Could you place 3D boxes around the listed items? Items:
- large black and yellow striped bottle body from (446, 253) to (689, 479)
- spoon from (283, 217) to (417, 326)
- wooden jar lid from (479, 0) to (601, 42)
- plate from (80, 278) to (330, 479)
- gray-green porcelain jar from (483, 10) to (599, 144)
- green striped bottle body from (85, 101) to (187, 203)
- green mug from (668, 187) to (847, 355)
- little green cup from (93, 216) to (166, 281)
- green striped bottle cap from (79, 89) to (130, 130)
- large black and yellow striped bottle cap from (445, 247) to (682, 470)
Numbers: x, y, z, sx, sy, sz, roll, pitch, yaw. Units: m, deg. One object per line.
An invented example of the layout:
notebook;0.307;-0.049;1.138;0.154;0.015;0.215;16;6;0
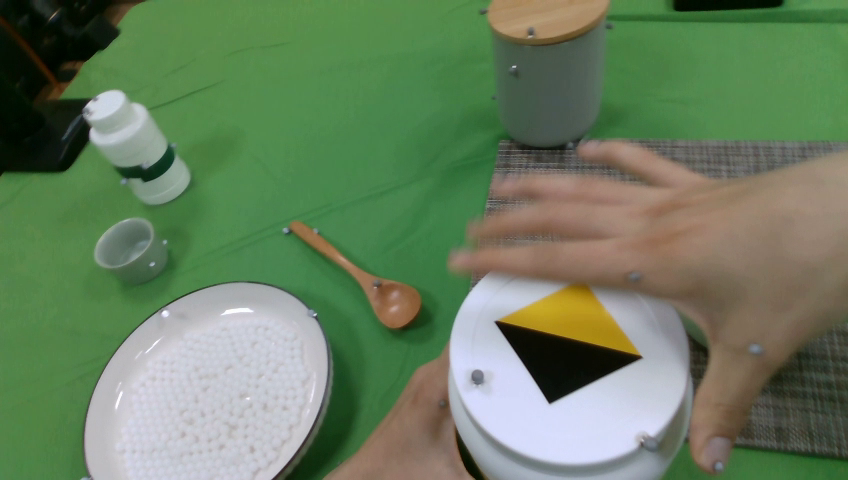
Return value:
large black and yellow striped bottle body;0.085;0.100;0.371;0.130;0.186;0.129;-6;57;9
spoon;-0.076;0.021;0.569;0.192;0.022;0.041;34;84;31
wooden jar lid;0.105;-0.209;0.551;0.108;0.021;0.107;-8;50;10
plate;-0.175;0.127;0.503;0.209;0.038;0.207;-6;53;8
gray-green porcelain jar;0.116;-0.168;0.598;0.106;0.128;0.105;-6;49;7
green striped bottle body;-0.312;-0.100;0.649;0.063;0.120;0.062;-6;53;9
green mug;0.247;0.028;0.436;0.125;0.106;0.092;11;57;20
little green cup;-0.297;0.011;0.616;0.061;0.039;0.061;-6;51;8
green striped bottle cap;-0.321;-0.131;0.608;0.044;0.020;0.044;-5;55;7
large black and yellow striped bottle cap;0.067;0.054;0.302;0.115;0.019;0.114;-5;55;8
